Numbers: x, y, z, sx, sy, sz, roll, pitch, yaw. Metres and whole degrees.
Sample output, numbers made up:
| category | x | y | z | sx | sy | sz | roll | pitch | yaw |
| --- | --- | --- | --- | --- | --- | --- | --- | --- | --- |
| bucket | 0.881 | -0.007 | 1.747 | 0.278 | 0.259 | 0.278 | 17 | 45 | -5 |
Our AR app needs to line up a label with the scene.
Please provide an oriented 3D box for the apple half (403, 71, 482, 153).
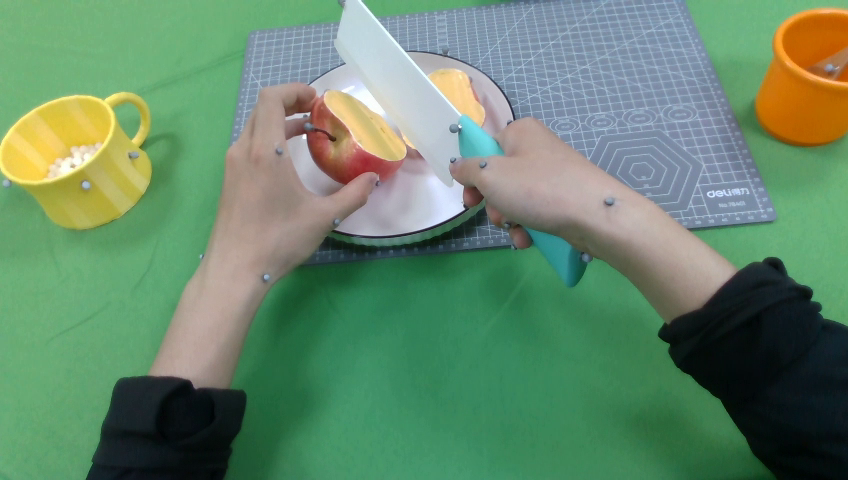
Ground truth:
| category | x | y | z | sx | sy | sz | roll | pitch | yaw |
| --- | --- | --- | --- | --- | --- | --- | --- | --- | --- |
| apple half | 0.012 | -0.103 | 0.524 | 0.081 | 0.033 | 0.081 | -5 | 70 | 14 |

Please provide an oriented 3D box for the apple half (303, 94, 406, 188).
| category | x | y | z | sx | sy | sz | roll | pitch | yaw |
| --- | --- | --- | --- | --- | --- | --- | --- | --- | --- |
| apple half | -0.060 | -0.073 | 0.491 | 0.080 | 0.053 | 0.075 | 47 | 31 | 11 |

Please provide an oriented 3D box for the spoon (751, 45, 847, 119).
| category | x | y | z | sx | sy | sz | roll | pitch | yaw |
| --- | --- | --- | --- | --- | --- | --- | --- | --- | --- |
| spoon | 0.348 | -0.158 | 0.464 | 0.022 | 0.194 | 0.041 | 20 | 46 | -33 |

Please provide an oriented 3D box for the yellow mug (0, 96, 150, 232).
| category | x | y | z | sx | sy | sz | roll | pitch | yaw |
| --- | --- | --- | --- | --- | --- | --- | --- | --- | --- |
| yellow mug | -0.296 | -0.077 | 0.536 | 0.099 | 0.064 | 0.130 | 26 | 63 | 21 |

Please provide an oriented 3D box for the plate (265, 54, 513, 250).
| category | x | y | z | sx | sy | sz | roll | pitch | yaw |
| --- | --- | --- | --- | --- | --- | --- | --- | --- | --- |
| plate | -0.029 | -0.075 | 0.518 | 0.209 | 0.038 | 0.207 | -3 | 57 | 5 |

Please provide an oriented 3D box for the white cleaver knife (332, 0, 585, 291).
| category | x | y | z | sx | sy | sz | roll | pitch | yaw |
| --- | --- | --- | --- | --- | --- | --- | --- | --- | --- |
| white cleaver knife | 0.013 | -0.074 | 0.433 | 0.021 | 0.066 | 0.284 | -23 | 63 | -30 |
